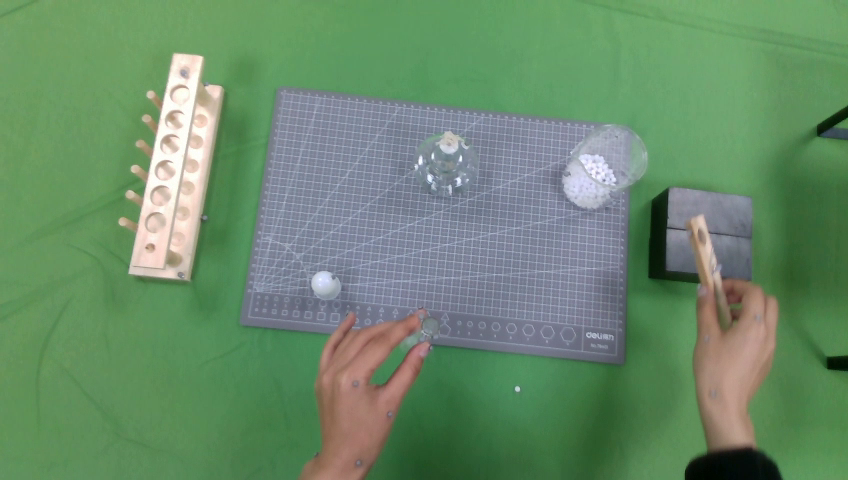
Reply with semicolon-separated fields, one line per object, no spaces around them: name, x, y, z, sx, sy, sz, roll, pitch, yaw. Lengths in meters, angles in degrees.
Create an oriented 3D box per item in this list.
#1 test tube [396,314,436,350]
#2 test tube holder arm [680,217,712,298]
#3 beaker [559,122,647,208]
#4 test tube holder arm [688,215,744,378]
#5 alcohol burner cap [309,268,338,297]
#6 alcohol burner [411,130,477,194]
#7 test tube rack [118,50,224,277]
test tube;-0.009;0.087;0.556;0.017;0.150;0.017;3;74;-9
test tube holder arm;0.288;0.018;0.637;0.010;0.015;0.088;-18;92;-5
beaker;0.201;-0.083;0.707;0.084;0.100;0.073;5;77;-1
test tube holder arm;0.308;0.060;0.639;0.013;0.015;0.178;-18;92;-5
alcohol burner cap;-0.117;0.047;0.691;0.034;0.048;0.033;1;79;-4
alcohol burner;0.024;-0.095;0.692;0.078;0.119;0.077;0;78;-1
test tube rack;-0.293;-0.086;0.690;0.067;0.085;0.241;6;78;-1
